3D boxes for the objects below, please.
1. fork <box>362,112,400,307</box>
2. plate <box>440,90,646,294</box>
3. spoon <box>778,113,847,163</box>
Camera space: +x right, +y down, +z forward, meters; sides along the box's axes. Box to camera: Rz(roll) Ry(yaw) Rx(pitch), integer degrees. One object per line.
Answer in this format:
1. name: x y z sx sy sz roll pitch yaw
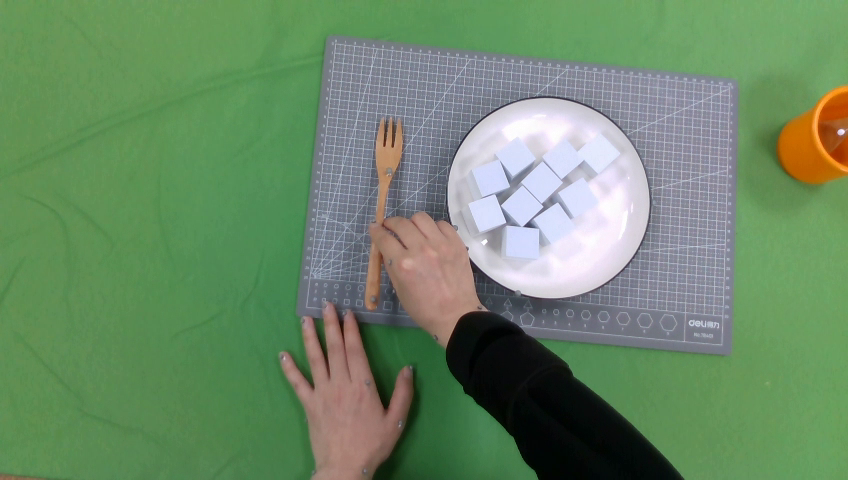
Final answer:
1. fork: -0.045 -0.035 0.608 0.028 0.019 0.206 5 71 0
2. plate: 0.119 -0.047 0.621 0.208 0.039 0.207 0 84 -3
3. spoon: 0.450 -0.134 0.595 0.022 0.193 0.041 -15 76 -48
